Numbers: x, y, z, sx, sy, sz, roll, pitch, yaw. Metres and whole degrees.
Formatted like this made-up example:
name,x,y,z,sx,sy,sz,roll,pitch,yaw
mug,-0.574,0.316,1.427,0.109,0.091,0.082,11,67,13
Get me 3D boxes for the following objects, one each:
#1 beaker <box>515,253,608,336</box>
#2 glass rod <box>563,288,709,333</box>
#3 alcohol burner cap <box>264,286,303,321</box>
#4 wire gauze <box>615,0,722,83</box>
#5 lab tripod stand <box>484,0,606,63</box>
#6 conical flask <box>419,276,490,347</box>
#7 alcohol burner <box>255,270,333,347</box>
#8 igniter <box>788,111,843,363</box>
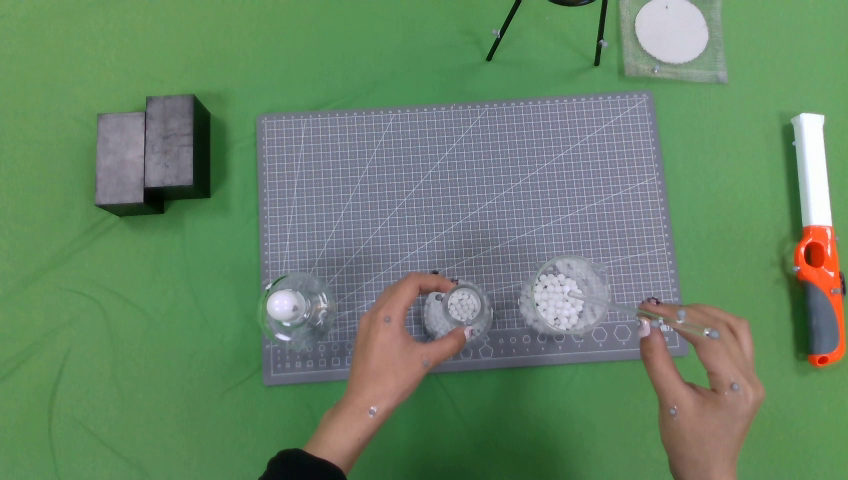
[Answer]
name,x,y,z,sx,sy,sz,roll,pitch,yaw
beaker,0.134,0.055,0.605,0.084,0.100,0.074,-37,83,-7
glass rod,0.155,0.051,0.477,0.008,0.199,0.008,-1,93,-13
alcohol burner cap,-0.131,0.058,0.557,0.034,0.048,0.034,0,83,-4
wire gauze,0.286,-0.245,0.707,0.125,0.011,0.121,2,81,-2
lab tripod stand,0.136,-0.254,0.643,0.148,0.132,0.148,0,82,0
conical flask,0.033,0.066,0.590,0.075,0.122,0.075,0,79,0
alcohol burner,-0.131,0.065,0.592,0.078,0.119,0.077,0,79,2
igniter,0.423,-0.007,0.658,0.057,0.025,0.275,4,80,-11
